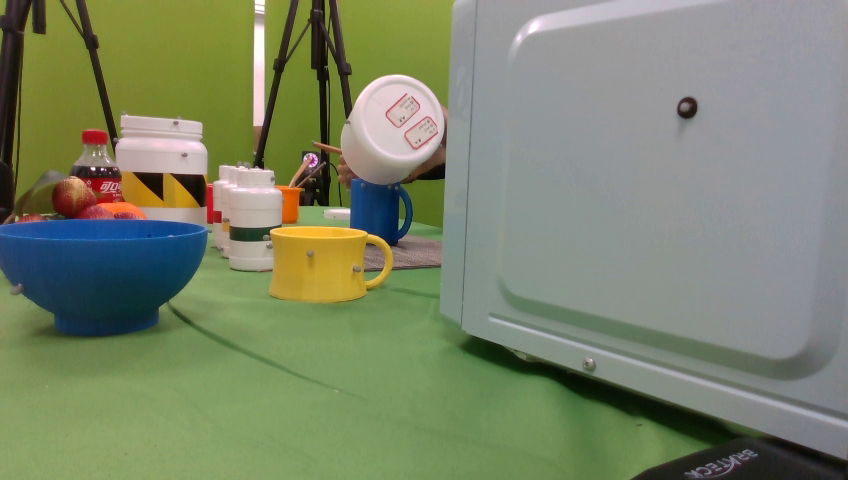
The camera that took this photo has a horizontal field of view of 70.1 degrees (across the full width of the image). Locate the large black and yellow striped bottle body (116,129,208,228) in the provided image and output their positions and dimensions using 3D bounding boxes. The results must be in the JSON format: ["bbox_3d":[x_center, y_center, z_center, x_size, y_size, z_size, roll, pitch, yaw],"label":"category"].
[{"bbox_3d":[-0.404,-0.089,0.937,0.131,0.184,0.130,3,7,0],"label":"large black and yellow striped bottle body"}]

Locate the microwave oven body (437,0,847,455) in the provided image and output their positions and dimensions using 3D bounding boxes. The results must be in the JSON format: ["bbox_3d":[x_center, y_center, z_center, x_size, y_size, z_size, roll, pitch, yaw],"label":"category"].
[{"bbox_3d":[0.279,-0.040,0.465,0.444,0.260,0.324,-3,9,-41],"label":"microwave oven body"}]

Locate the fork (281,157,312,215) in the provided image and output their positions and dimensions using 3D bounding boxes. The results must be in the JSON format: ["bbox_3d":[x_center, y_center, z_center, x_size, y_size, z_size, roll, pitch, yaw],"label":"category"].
[{"bbox_3d":[-0.289,-0.116,1.321,0.028,0.019,0.207,6,51,19],"label":"fork"}]

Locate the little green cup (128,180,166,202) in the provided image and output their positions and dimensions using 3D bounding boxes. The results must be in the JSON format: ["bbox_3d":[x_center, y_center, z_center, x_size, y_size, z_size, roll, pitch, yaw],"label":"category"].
[{"bbox_3d":[-0.485,-0.087,1.062,0.061,0.038,0.061,-1,6,0],"label":"little green cup"}]

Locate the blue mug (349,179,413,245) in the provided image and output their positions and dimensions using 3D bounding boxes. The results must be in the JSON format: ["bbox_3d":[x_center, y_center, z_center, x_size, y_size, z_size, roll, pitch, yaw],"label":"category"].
[{"bbox_3d":[-0.069,-0.047,1.001,0.116,0.106,0.083,7,9,29],"label":"blue mug"}]

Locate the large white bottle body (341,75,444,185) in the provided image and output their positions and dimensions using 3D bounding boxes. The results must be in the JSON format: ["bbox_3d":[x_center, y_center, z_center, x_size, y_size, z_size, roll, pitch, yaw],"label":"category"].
[{"bbox_3d":[-0.055,-0.156,0.910,0.131,0.130,0.184,1,-6,-15],"label":"large white bottle body"}]

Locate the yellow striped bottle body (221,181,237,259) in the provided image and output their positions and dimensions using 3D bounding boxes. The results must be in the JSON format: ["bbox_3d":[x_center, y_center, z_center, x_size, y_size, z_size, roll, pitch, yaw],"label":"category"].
[{"bbox_3d":[-0.244,-0.035,0.823,0.063,0.120,0.063,3,8,0],"label":"yellow striped bottle body"}]

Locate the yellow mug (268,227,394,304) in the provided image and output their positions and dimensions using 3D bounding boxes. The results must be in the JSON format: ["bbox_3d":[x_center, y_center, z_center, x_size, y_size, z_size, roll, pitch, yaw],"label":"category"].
[{"bbox_3d":[-0.094,0.023,0.629,0.131,0.064,0.099,0,7,-22],"label":"yellow mug"}]

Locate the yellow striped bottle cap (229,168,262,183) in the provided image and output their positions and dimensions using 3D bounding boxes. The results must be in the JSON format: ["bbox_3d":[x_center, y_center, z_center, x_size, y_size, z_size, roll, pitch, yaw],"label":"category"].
[{"bbox_3d":[-0.240,-0.087,0.816,0.044,0.018,0.044,-3,5,1],"label":"yellow striped bottle cap"}]

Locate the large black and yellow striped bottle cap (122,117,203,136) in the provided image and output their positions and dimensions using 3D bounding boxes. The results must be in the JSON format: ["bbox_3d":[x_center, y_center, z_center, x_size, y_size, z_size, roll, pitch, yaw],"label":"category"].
[{"bbox_3d":[-0.399,-0.174,0.927,0.115,0.019,0.115,5,9,-1],"label":"large black and yellow striped bottle cap"}]

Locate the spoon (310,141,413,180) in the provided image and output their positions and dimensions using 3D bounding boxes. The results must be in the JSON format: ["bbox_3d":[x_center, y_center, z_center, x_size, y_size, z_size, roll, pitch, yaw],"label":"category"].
[{"bbox_3d":[-0.113,-0.145,1.089,0.194,0.021,0.041,23,7,1],"label":"spoon"}]

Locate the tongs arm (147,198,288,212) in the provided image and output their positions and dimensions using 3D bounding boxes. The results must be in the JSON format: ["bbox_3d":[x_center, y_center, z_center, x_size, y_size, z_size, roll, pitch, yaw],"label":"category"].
[{"bbox_3d":[-0.503,-0.090,1.513,0.028,0.028,0.389,-1,3,38],"label":"tongs arm"}]

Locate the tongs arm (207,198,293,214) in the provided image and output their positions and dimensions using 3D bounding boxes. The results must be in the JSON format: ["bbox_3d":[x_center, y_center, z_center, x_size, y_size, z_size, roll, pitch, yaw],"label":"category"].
[{"bbox_3d":[-0.423,-0.084,1.472,0.050,0.026,0.386,1,6,21],"label":"tongs arm"}]

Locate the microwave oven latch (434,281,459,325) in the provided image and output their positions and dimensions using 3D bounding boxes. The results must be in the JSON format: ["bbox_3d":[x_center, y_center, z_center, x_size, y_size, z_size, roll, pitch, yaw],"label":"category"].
[{"bbox_3d":[0.044,0.045,0.470,0.079,0.029,0.030,-2,8,-39],"label":"microwave oven latch"}]

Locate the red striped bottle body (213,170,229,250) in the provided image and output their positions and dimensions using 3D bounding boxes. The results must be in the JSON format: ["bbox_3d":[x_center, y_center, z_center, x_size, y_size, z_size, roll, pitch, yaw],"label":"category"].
[{"bbox_3d":[-0.283,-0.047,0.909,0.063,0.119,0.063,3,14,0],"label":"red striped bottle body"}]

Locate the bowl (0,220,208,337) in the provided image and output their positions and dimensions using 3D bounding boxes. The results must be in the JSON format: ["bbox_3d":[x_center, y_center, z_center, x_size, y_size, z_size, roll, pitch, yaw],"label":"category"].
[{"bbox_3d":[-0.251,0.029,0.479,0.151,0.077,0.151,2,7,0],"label":"bowl"}]

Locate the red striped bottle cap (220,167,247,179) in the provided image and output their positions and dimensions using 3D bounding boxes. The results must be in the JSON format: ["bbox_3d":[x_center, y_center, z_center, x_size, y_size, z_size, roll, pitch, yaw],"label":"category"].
[{"bbox_3d":[-0.281,-0.099,0.901,0.044,0.017,0.044,-1,5,0],"label":"red striped bottle cap"}]

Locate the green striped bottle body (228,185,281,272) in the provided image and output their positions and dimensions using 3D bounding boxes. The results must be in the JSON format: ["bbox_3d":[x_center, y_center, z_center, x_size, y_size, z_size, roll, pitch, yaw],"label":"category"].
[{"bbox_3d":[-0.208,-0.024,0.745,0.063,0.119,0.063,2,7,0],"label":"green striped bottle body"}]

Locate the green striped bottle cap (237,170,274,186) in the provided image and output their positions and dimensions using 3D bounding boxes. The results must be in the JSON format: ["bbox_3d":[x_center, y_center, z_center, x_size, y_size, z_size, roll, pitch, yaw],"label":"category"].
[{"bbox_3d":[-0.205,-0.075,0.737,0.044,0.020,0.044,1,6,0],"label":"green striped bottle cap"}]

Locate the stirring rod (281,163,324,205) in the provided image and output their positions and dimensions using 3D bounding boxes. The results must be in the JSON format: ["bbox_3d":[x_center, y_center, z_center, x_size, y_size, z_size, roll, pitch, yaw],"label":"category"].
[{"bbox_3d":[-0.278,-0.105,1.293,0.176,0.006,0.014,-47,25,-18],"label":"stirring rod"}]

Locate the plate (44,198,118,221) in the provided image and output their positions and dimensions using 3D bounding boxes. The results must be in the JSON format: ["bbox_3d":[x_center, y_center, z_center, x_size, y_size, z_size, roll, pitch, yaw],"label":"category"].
[{"bbox_3d":[-0.617,-0.056,1.179,0.209,0.038,0.209,3,7,0],"label":"plate"}]

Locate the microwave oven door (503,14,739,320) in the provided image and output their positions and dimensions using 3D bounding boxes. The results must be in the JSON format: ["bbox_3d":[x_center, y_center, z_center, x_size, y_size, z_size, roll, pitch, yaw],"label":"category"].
[{"bbox_3d":[0.217,-0.065,0.600,0.358,0.243,0.039,-4,10,-41],"label":"microwave oven door"}]

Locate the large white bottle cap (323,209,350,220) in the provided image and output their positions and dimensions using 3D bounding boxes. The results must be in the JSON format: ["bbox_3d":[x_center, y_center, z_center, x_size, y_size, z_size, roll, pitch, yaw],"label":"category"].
[{"bbox_3d":[-0.184,-0.062,1.449,0.115,0.018,0.115,2,8,0],"label":"large white bottle cap"}]
